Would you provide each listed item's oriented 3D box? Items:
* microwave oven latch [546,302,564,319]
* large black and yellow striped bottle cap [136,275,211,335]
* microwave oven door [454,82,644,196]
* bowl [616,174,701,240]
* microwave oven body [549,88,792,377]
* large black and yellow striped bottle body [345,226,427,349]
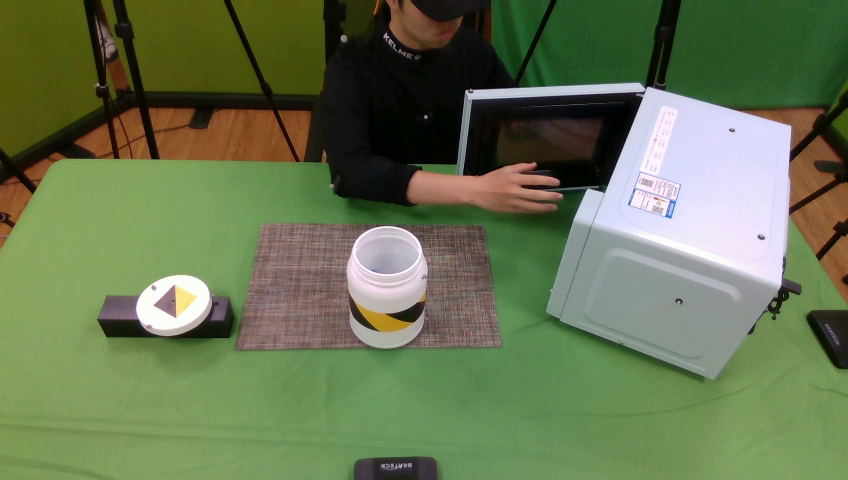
[{"bbox_3d":[0.242,0.102,1.081,0.030,0.029,0.079,21,48,17],"label":"microwave oven latch"},{"bbox_3d":[-0.412,0.105,0.999,0.115,0.019,0.114,3,46,-3],"label":"large black and yellow striped bottle cap"},{"bbox_3d":[0.247,-0.202,1.233,0.356,0.245,0.039,-5,47,-8],"label":"microwave oven door"},{"bbox_3d":[0.435,-0.053,1.142,0.151,0.077,0.150,-4,37,3],"label":"bowl"},{"bbox_3d":[0.456,-0.028,1.088,0.325,0.261,0.440,20,47,16],"label":"microwave oven body"},{"bbox_3d":[-0.062,0.078,0.998,0.131,0.185,0.130,2,46,-2],"label":"large black and yellow striped bottle body"}]
